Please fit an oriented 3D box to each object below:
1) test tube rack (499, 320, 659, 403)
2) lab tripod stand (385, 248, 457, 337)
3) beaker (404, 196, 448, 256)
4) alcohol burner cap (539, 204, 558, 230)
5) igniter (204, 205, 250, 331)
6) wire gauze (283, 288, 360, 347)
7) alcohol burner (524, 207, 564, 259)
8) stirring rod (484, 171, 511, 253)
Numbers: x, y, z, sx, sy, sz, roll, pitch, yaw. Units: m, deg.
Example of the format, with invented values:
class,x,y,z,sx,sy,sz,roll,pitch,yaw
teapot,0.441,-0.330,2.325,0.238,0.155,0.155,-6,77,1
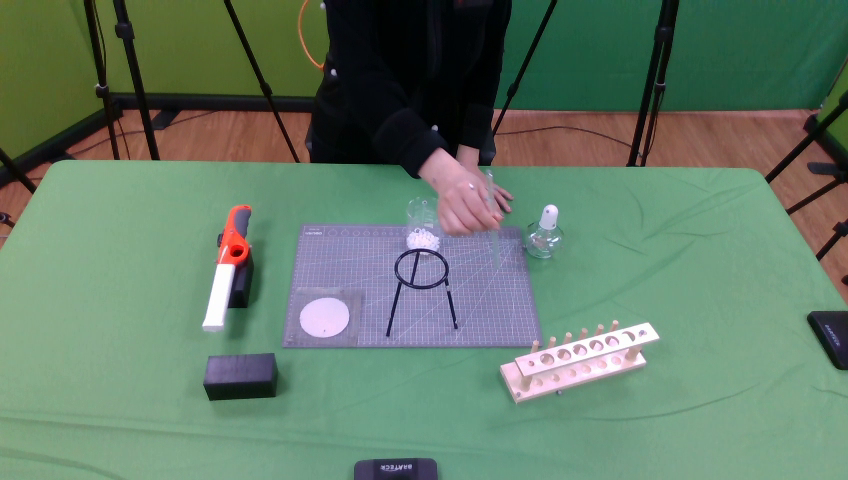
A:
class,x,y,z,sx,sy,sz,roll,pitch,yaw
test tube rack,0.252,0.187,0.994,0.243,0.085,0.066,-12,48,-15
lab tripod stand,-0.010,0.087,1.032,0.148,0.132,0.147,1,45,-1
beaker,0.001,-0.024,1.164,0.084,0.101,0.073,5,46,0
alcohol burner cap,0.238,-0.045,1.148,0.034,0.048,0.033,1,43,-1
igniter,-0.345,0.039,1.065,0.057,0.025,0.274,1,48,-6
wire gauze,-0.178,0.132,1.063,0.125,0.011,0.120,2,46,1
alcohol burner,0.236,-0.020,1.174,0.078,0.120,0.077,1,48,-1
stirring rod,0.101,-0.034,0.821,0.014,0.177,0.006,21,64,28
